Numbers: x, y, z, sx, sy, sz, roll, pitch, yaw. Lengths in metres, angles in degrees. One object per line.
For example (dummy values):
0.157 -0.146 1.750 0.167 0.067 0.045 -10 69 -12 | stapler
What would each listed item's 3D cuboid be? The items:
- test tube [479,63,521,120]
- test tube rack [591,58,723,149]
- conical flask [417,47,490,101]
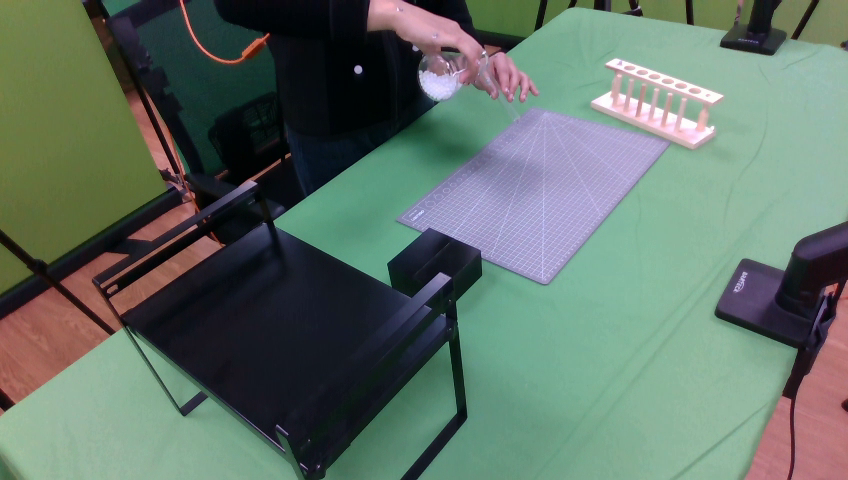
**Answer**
0.133 -0.251 1.039 0.017 0.151 0.017 -15 58 27 | test tube
0.442 -0.269 1.171 0.067 0.085 0.240 -30 46 -24 | test tube rack
0.053 -0.267 0.936 0.074 0.075 0.122 26 42 33 | conical flask
